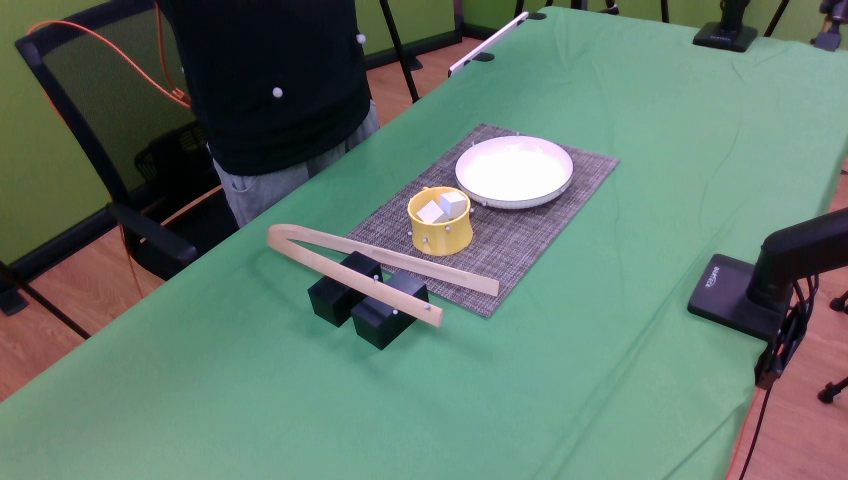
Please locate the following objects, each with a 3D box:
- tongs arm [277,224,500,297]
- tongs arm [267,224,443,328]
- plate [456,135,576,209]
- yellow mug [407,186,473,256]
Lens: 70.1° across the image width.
[{"bbox_3d":[-0.065,0.028,0.932,0.385,0.028,0.028,14,24,22],"label":"tongs arm"},{"bbox_3d":[-0.112,0.042,0.865,0.381,0.026,0.051,19,22,35],"label":"tongs arm"},{"bbox_3d":[0.161,-0.116,1.064,0.207,0.039,0.206,-4,40,4],"label":"plate"},{"bbox_3d":[0.021,-0.041,0.973,0.100,0.064,0.129,-19,41,-12],"label":"yellow mug"}]
